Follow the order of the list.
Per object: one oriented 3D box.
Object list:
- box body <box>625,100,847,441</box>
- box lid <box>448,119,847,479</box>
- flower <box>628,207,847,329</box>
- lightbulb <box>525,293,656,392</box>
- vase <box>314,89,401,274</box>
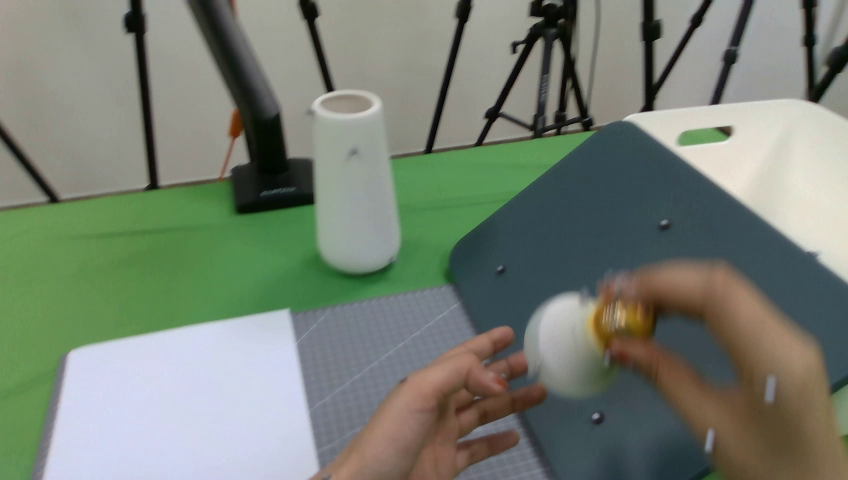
[{"bbox_3d":[0.385,0.005,0.622,0.255,0.162,0.360,-8,36,-12],"label":"box body"},{"bbox_3d":[0.172,0.042,0.557,0.263,0.015,0.367,-39,37,10],"label":"box lid"},{"bbox_3d":[0.391,0.055,0.669,0.358,0.038,0.044,34,40,32],"label":"flower"},{"bbox_3d":[0.100,0.056,0.361,0.060,0.108,0.059,6,67,-15],"label":"lightbulb"},{"bbox_3d":[-0.077,-0.061,0.674,0.098,0.201,0.097,-1,35,1],"label":"vase"}]
